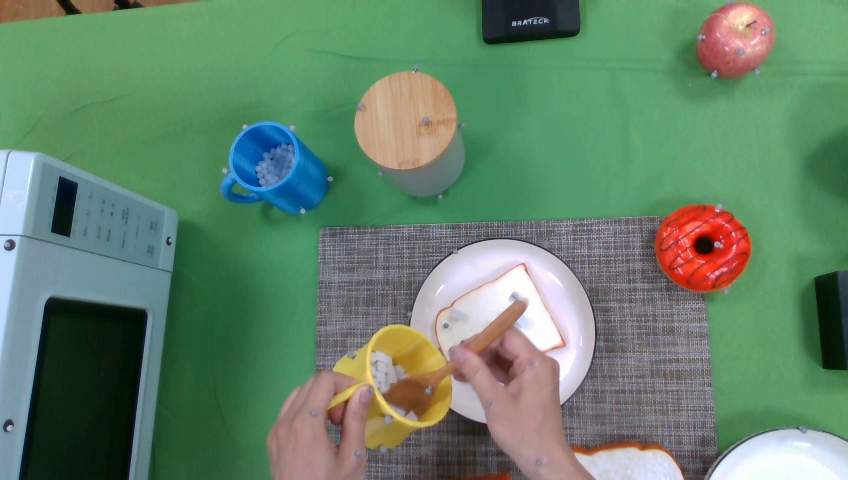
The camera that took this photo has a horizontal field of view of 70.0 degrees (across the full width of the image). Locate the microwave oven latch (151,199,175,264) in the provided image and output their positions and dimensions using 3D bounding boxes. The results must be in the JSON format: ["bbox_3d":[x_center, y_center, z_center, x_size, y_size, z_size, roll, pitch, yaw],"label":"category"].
[{"bbox_3d":[-0.330,-0.011,0.749,0.030,0.029,0.079,4,82,9],"label":"microwave oven latch"}]

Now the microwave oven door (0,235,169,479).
[{"bbox_3d":[-0.359,0.188,0.616,0.039,0.245,0.354,1,80,9],"label":"microwave oven door"}]

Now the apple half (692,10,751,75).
[{"bbox_3d":[0.326,-0.213,0.685,0.033,0.081,0.081,-34,77,-3],"label":"apple half"}]

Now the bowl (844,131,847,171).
[{"bbox_3d":[0.511,-0.089,0.635,0.151,0.077,0.151,-1,81,9],"label":"bowl"}]

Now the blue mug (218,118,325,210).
[{"bbox_3d":[-0.187,-0.080,0.724,0.116,0.106,0.082,-27,77,4],"label":"blue mug"}]

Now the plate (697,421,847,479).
[{"bbox_3d":[0.376,0.288,0.613,0.209,0.038,0.208,-1,80,8],"label":"plate"}]

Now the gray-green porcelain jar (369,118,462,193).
[{"bbox_3d":[-0.012,-0.115,0.693,0.106,0.127,0.105,-1,80,8],"label":"gray-green porcelain jar"}]

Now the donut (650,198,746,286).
[{"bbox_3d":[0.300,0.002,0.666,0.099,0.048,0.098,-1,81,8],"label":"donut"}]

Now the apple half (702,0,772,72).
[{"bbox_3d":[0.357,-0.236,0.686,0.053,0.075,0.080,-33,73,-4],"label":"apple half"}]

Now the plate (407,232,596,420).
[{"bbox_3d":[0.086,0.095,0.685,0.207,0.039,0.207,-1,80,8],"label":"plate"}]

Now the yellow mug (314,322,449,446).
[{"bbox_3d":[-0.044,0.137,0.562,0.064,0.131,0.099,-39,67,36],"label":"yellow mug"}]

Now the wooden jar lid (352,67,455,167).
[{"bbox_3d":[-0.021,-0.126,0.633,0.108,0.021,0.108,-2,78,9],"label":"wooden jar lid"}]

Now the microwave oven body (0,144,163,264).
[{"bbox_3d":[-0.499,0.143,0.649,0.325,0.261,0.440,2,81,8],"label":"microwave oven body"}]

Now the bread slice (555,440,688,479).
[{"bbox_3d":[0.208,0.262,0.616,0.134,0.018,0.106,-6,76,-13],"label":"bread slice"}]

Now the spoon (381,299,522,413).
[{"bbox_3d":[0.022,0.107,0.538,0.042,0.021,0.194,42,130,-5],"label":"spoon"}]

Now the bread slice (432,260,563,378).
[{"bbox_3d":[0.077,0.097,0.687,0.131,0.019,0.104,-28,78,3],"label":"bread slice"}]
